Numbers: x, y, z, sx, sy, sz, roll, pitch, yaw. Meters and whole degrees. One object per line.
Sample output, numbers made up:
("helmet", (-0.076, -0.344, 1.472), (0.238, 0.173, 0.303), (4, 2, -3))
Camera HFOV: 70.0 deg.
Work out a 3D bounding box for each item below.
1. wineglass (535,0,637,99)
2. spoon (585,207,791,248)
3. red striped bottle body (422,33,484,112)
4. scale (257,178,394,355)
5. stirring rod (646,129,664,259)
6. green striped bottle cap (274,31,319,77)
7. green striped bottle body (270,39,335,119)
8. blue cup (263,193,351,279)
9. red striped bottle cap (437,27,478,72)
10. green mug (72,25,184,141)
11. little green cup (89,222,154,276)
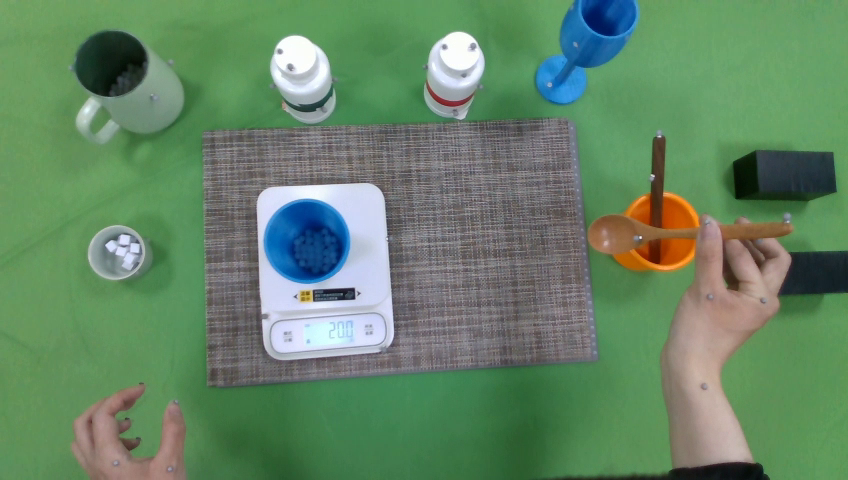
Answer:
("wineglass", (0.178, -0.224, 0.689), (0.074, 0.172, 0.073), (1, 82, -3))
("spoon", (0.226, -0.012, 0.547), (0.022, 0.192, 0.041), (-9, 95, -33))
("red striped bottle body", (0.033, -0.198, 0.702), (0.063, 0.120, 0.063), (1, 82, -4))
("scale", (-0.115, 0.028, 0.703), (0.149, 0.031, 0.200), (-4, 84, -5))
("stirring rod", (0.263, -0.047, 0.692), (0.014, 0.005, 0.178), (-17, 126, -5))
("green striped bottle cap", (-0.133, -0.195, 0.632), (0.044, 0.020, 0.044), (0, 82, -3))
("green striped bottle body", (-0.137, -0.186, 0.687), (0.063, 0.119, 0.063), (1, 82, -4))
("blue cup", (-0.117, 0.001, 0.640), (0.093, 0.100, 0.092), (0, 85, -4))
("red striped bottle cap", (0.036, -0.205, 0.649), (0.044, 0.018, 0.044), (1, 81, -4))
("green mug", (-0.337, -0.166, 0.677), (0.092, 0.105, 0.125), (32, 82, 0))
("little green cup", (-0.340, 0.012, 0.687), (0.061, 0.038, 0.061), (1, 82, -6))
